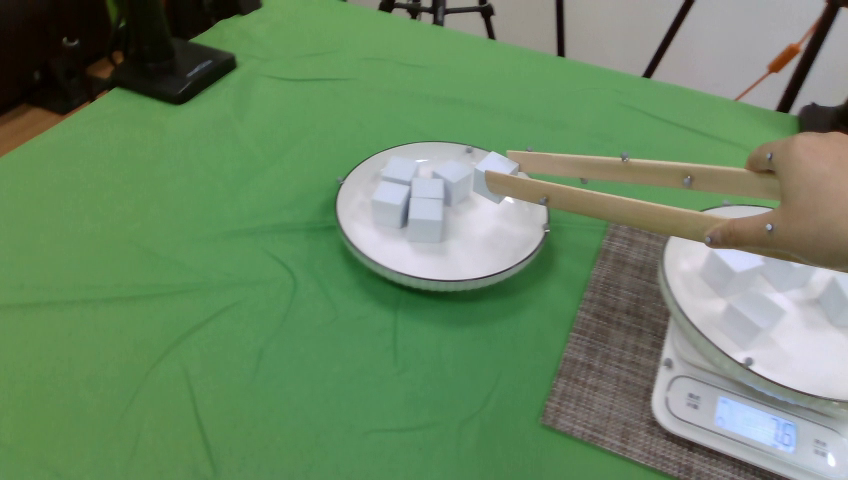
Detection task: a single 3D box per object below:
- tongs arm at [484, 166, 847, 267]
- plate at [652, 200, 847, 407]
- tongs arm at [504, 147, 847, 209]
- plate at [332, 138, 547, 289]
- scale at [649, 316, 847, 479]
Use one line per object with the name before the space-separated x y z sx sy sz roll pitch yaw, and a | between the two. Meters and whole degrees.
tongs arm | 0.195 -0.018 0.425 0.384 0.028 0.028 16 46 42
plate | 0.289 0.049 0.497 0.208 0.039 0.205 3 45 -3
tongs arm | 0.210 -0.033 0.436 0.381 0.027 0.050 12 47 40
plate | 0.015 -0.026 0.598 0.209 0.038 0.207 3 44 -3
scale | 0.276 0.090 0.500 0.148 0.032 0.200 20 47 15
